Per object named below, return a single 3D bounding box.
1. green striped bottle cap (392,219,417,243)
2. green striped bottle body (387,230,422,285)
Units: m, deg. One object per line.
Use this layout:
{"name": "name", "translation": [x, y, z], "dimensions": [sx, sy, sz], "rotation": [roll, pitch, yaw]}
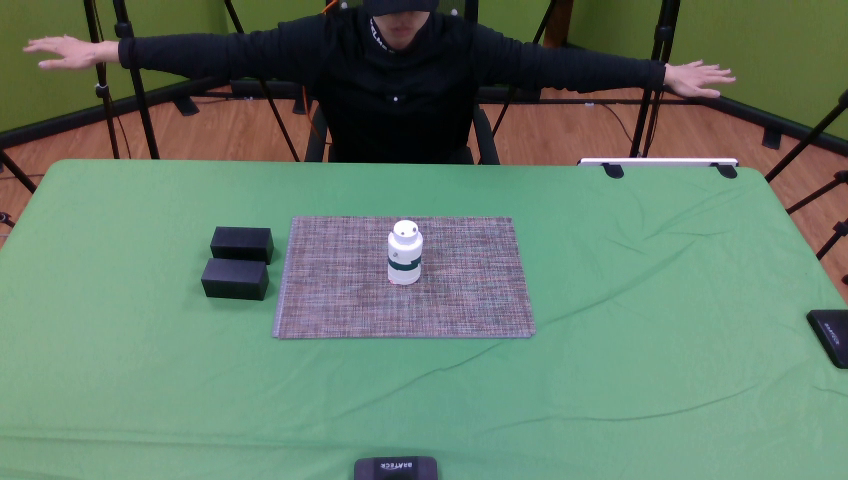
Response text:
{"name": "green striped bottle cap", "translation": [-0.034, -0.016, 1.066], "dimensions": [0.044, 0.020, 0.044], "rotation": [4, 45, -4]}
{"name": "green striped bottle body", "translation": [-0.036, 0.021, 1.102], "dimensions": [0.063, 0.120, 0.063], "rotation": [2, 46, -2]}
